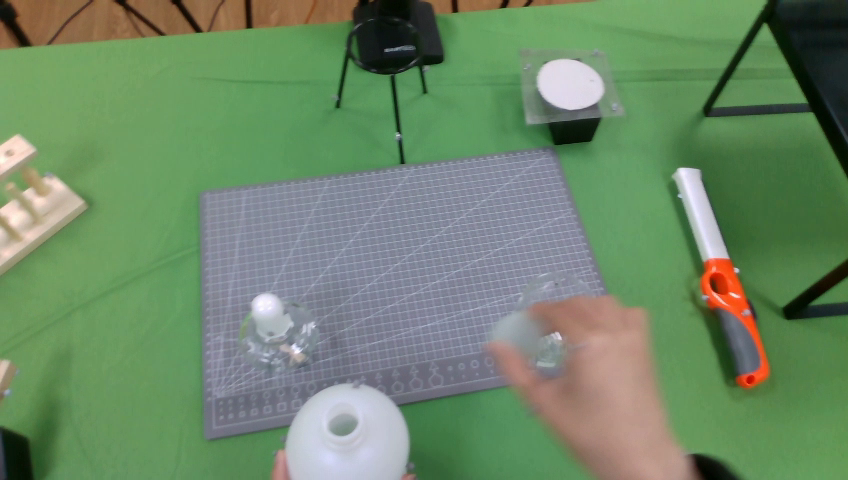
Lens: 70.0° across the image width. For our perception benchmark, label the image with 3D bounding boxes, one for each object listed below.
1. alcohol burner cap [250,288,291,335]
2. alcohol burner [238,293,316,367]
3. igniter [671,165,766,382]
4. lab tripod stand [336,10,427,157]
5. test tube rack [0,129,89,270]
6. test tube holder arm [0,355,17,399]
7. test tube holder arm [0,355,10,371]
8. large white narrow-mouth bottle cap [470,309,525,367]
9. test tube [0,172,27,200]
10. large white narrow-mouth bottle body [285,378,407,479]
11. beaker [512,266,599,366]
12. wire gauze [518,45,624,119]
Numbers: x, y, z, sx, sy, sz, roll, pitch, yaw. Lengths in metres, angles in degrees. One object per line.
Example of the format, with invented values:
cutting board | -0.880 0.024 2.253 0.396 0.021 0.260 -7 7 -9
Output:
alcohol burner cap | -0.146 0.065 0.566 0.034 0.048 0.033 0 56 1
alcohol burner | -0.147 0.082 0.598 0.078 0.120 0.077 2 60 -3
igniter | 0.338 0.029 0.703 0.057 0.025 0.274 3 61 -13
lab tripod stand | -0.043 -0.197 0.747 0.148 0.132 0.147 2 62 -4
test tube rack | -0.498 -0.003 0.645 0.066 0.086 0.242 37 66 16
test tube holder arm | -0.403 0.188 0.531 0.013 0.015 0.177 3 62 5
test tube holder arm | -0.404 0.148 0.553 0.010 0.015 0.087 2 62 5
large white narrow-mouth bottle cap | 0.051 0.068 0.423 0.038 0.024 0.037 1 61 -2
test tube | -0.466 -0.087 0.636 0.017 0.151 0.017 0 60 1
large white narrow-mouth bottle body | -0.064 0.173 0.508 0.102 0.196 0.101 2 58 -3
beaker | 0.125 0.083 0.619 0.084 0.101 0.073 -7 61 -5
wire gauze | 0.186 -0.206 0.778 0.121 0.011 0.124 -1 61 -3
